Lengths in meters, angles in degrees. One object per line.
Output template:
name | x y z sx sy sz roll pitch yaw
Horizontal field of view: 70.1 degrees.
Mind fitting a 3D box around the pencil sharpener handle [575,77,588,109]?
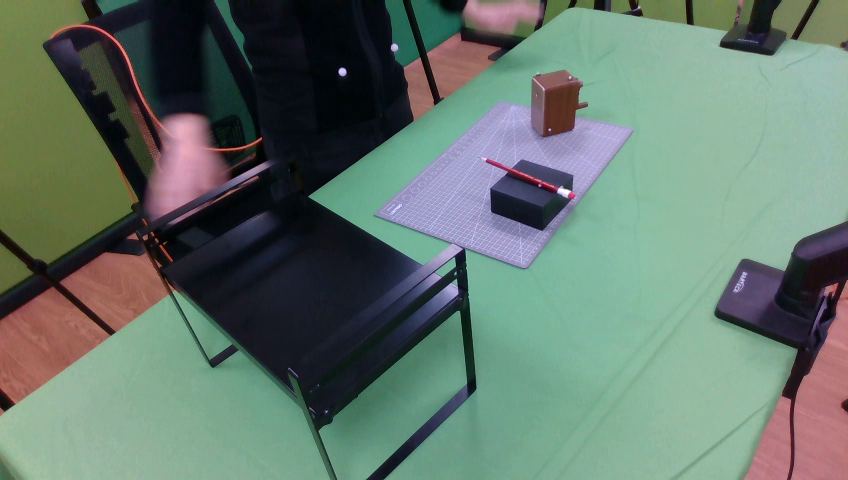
pencil sharpener handle | 0.304 -0.289 1.177 0.031 0.068 0.035 -15 33 -9

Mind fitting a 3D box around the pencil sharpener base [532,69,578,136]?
pencil sharpener base | 0.256 -0.268 1.179 0.077 0.107 0.061 -15 41 -9

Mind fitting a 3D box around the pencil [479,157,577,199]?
pencil | 0.167 -0.106 1.001 0.192 0.012 0.012 28 52 33
